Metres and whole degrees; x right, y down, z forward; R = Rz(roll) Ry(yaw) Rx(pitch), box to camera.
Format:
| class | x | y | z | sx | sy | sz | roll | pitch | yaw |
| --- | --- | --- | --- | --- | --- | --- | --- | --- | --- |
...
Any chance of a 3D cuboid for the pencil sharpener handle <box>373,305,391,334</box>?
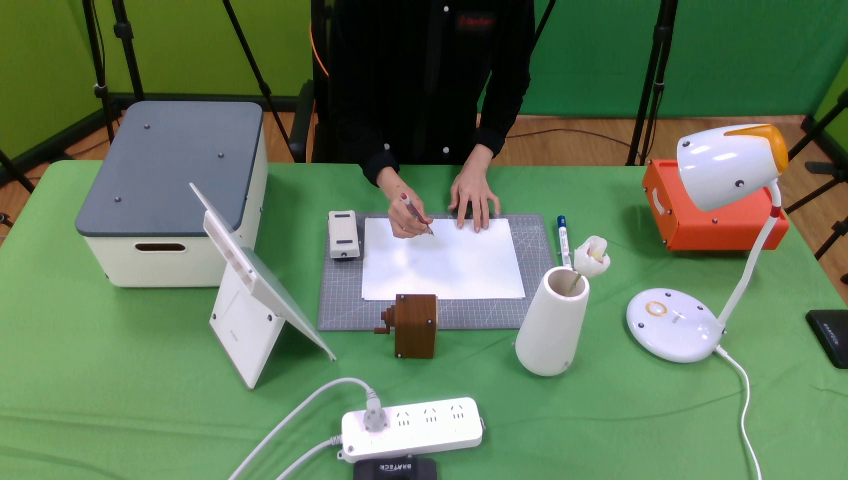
| class | x | y | z | sx | sy | sz | roll | pitch | yaw |
| --- | --- | --- | --- | --- | --- | --- | --- | --- | --- |
| pencil sharpener handle | -0.068 | 0.133 | 0.989 | 0.030 | 0.068 | 0.036 | 1 | 47 | -2 |

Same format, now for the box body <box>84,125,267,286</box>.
| class | x | y | z | sx | sy | sz | roll | pitch | yaw |
| --- | --- | --- | --- | --- | --- | --- | --- | --- | --- |
| box body | -0.446 | -0.088 | 1.150 | 0.254 | 0.161 | 0.361 | -1 | 46 | -5 |

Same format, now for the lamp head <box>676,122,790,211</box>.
| class | x | y | z | sx | sy | sz | roll | pitch | yaw |
| --- | --- | --- | --- | --- | --- | --- | --- | --- | --- |
| lamp head | 0.423 | -0.104 | 0.819 | 0.122 | 0.113 | 0.112 | -13 | 33 | 40 |

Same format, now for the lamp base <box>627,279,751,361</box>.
| class | x | y | z | sx | sy | sz | roll | pitch | yaw |
| --- | --- | --- | --- | --- | --- | --- | --- | --- | --- |
| lamp base | 0.459 | 0.100 | 1.027 | 0.178 | 0.181 | 0.160 | 27 | 51 | 17 |

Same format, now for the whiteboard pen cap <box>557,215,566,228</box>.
| class | x | y | z | sx | sy | sz | roll | pitch | yaw |
| --- | --- | --- | --- | --- | --- | --- | --- | --- | --- |
| whiteboard pen cap | 0.284 | -0.035 | 1.246 | 0.018 | 0.018 | 0.033 | 4 | 52 | -1 |

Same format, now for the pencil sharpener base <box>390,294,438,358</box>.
| class | x | y | z | sx | sy | sz | roll | pitch | yaw |
| --- | --- | --- | --- | --- | --- | --- | --- | --- | --- |
| pencil sharpener base | -0.018 | 0.143 | 1.000 | 0.077 | 0.107 | 0.061 | 1 | 46 | -2 |

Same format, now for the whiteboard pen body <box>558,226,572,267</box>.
| class | x | y | z | sx | sy | sz | roll | pitch | yaw |
| --- | --- | --- | --- | --- | --- | --- | --- | --- | --- |
| whiteboard pen body | 0.280 | 0.010 | 1.208 | 0.017 | 0.017 | 0.140 | 3 | 50 | -1 |

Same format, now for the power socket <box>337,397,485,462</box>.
| class | x | y | z | sx | sy | sz | roll | pitch | yaw |
| --- | --- | --- | --- | --- | --- | --- | --- | --- | --- |
| power socket | -0.018 | 0.285 | 0.915 | 0.227 | 0.033 | 0.071 | -5 | 46 | -8 |

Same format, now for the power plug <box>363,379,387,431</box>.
| class | x | y | z | sx | sy | sz | roll | pitch | yaw |
| --- | --- | --- | --- | --- | --- | --- | --- | --- | --- |
| power plug | -0.072 | 0.252 | 0.910 | 0.035 | 0.053 | 0.072 | 3 | 45 | -1 |

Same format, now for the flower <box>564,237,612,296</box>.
| class | x | y | z | sx | sy | sz | roll | pitch | yaw |
| --- | --- | --- | --- | --- | --- | --- | --- | --- | --- |
| flower | 0.206 | 0.088 | 0.893 | 0.038 | 0.363 | 0.044 | -17 | 67 | -9 |

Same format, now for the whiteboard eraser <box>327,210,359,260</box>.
| class | x | y | z | sx | sy | sz | roll | pitch | yaw |
| --- | --- | --- | --- | --- | --- | --- | --- | --- | --- |
| whiteboard eraser | -0.158 | -0.009 | 1.177 | 0.055 | 0.042 | 0.112 | -6 | 47 | -7 |

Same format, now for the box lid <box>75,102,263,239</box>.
| class | x | y | z | sx | sy | sz | roll | pitch | yaw |
| --- | --- | --- | --- | --- | --- | --- | --- | --- | --- |
| box lid | -0.442 | -0.138 | 1.094 | 0.263 | 0.015 | 0.369 | -1 | 47 | -5 |

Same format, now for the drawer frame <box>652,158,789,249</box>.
| class | x | y | z | sx | sy | sz | roll | pitch | yaw |
| --- | --- | --- | --- | --- | --- | --- | --- | --- | --- |
| drawer frame | 0.571 | -0.075 | 1.214 | 0.214 | 0.083 | 0.200 | 0 | 45 | -1 |

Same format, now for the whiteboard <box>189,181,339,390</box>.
| class | x | y | z | sx | sy | sz | roll | pitch | yaw |
| --- | --- | --- | --- | --- | --- | --- | --- | --- | --- |
| whiteboard | -0.292 | 0.096 | 0.929 | 0.144 | 0.307 | 0.216 | -37 | 57 | -10 |

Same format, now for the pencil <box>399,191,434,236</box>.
| class | x | y | z | sx | sy | sz | roll | pitch | yaw |
| --- | --- | --- | --- | --- | --- | --- | --- | --- | --- |
| pencil | -0.009 | -0.042 | 1.079 | 0.012 | 0.195 | 0.012 | -6 | 68 | 15 |

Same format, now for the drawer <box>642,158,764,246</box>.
| class | x | y | z | sx | sy | sz | roll | pitch | yaw |
| --- | --- | --- | --- | --- | --- | --- | --- | --- | --- |
| drawer | 0.566 | -0.076 | 1.211 | 0.212 | 0.073 | 0.193 | 2 | 45 | -2 |

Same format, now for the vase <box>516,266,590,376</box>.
| class | x | y | z | sx | sy | sz | roll | pitch | yaw |
| --- | --- | --- | --- | --- | --- | --- | --- | --- | --- |
| vase | 0.208 | 0.132 | 0.965 | 0.098 | 0.201 | 0.097 | 3 | 46 | -3 |
